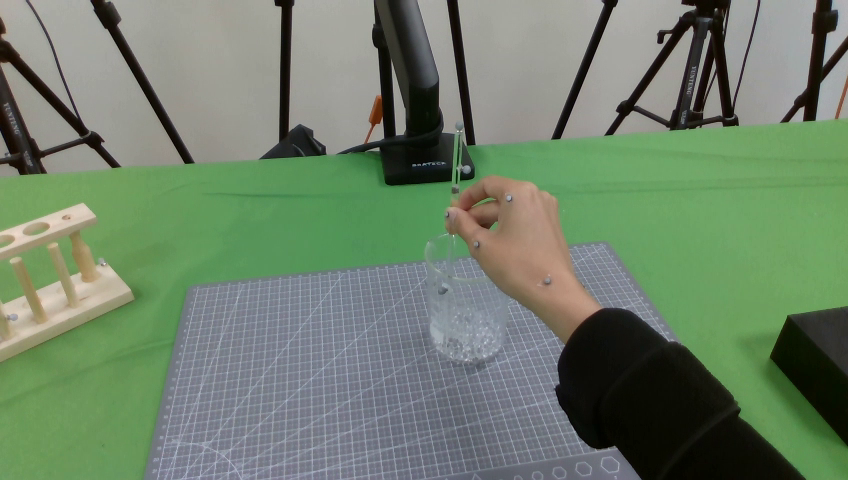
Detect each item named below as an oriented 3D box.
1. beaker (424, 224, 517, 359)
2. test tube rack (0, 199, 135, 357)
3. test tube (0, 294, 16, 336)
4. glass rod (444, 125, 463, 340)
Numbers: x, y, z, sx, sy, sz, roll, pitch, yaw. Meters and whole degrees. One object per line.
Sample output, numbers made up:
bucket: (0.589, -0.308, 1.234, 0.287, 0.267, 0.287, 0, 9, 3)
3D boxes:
beaker: (0.035, 0.046, 0.525, 0.083, 0.101, 0.074, 27, 44, 33)
test tube rack: (-0.396, 0.056, 0.528, 0.242, 0.086, 0.066, -29, 45, -34)
test tube: (-0.371, 0.020, 0.499, 0.017, 0.151, 0.017, 2, 35, -1)
glass rod: (0.024, 0.003, 0.495, 0.008, 0.201, 0.008, 1, 30, 0)
